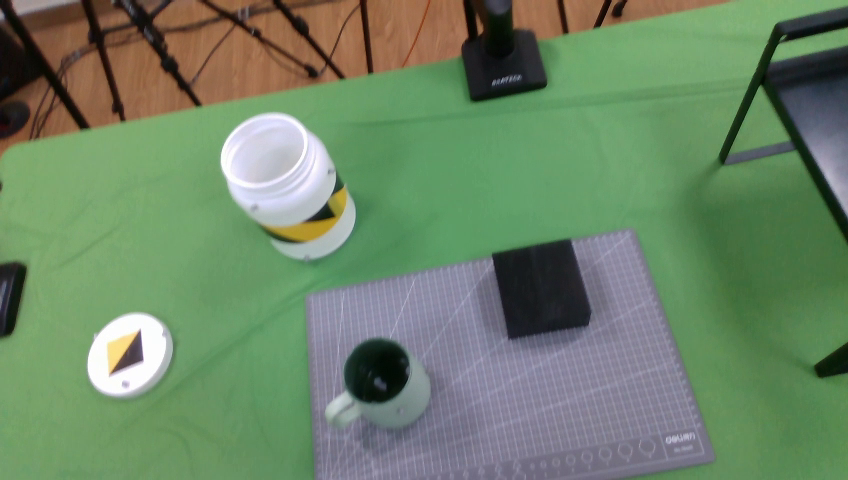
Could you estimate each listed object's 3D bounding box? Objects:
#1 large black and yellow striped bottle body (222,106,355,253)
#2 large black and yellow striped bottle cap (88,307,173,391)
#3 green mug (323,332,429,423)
[{"bbox_3d":[-0.175,-0.077,0.799,0.130,0.185,0.129,-4,63,8],"label":"large black and yellow striped bottle body"},{"bbox_3d":[-0.399,0.147,0.822,0.115,0.019,0.114,-4,63,8],"label":"large black and yellow striped bottle cap"},{"bbox_3d":[-0.059,0.169,0.701,0.125,0.106,0.091,-34,64,-8],"label":"green mug"}]
